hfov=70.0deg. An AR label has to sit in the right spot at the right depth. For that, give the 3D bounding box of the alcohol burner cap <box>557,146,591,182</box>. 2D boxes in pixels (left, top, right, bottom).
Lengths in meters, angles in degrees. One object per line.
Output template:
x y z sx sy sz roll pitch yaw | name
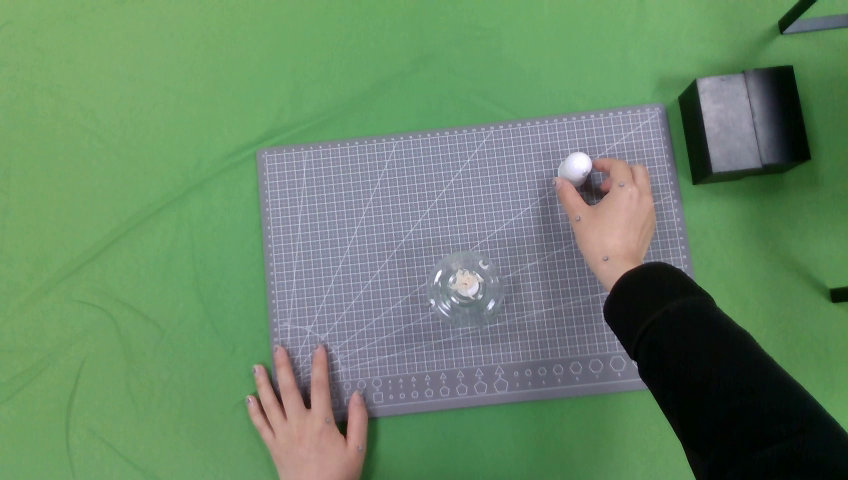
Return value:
0.159 -0.082 0.634 0.034 0.048 0.034 0 82 2 | alcohol burner cap

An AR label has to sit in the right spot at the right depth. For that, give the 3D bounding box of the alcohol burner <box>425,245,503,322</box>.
0.039 0.041 0.586 0.078 0.119 0.077 0 83 3 | alcohol burner
